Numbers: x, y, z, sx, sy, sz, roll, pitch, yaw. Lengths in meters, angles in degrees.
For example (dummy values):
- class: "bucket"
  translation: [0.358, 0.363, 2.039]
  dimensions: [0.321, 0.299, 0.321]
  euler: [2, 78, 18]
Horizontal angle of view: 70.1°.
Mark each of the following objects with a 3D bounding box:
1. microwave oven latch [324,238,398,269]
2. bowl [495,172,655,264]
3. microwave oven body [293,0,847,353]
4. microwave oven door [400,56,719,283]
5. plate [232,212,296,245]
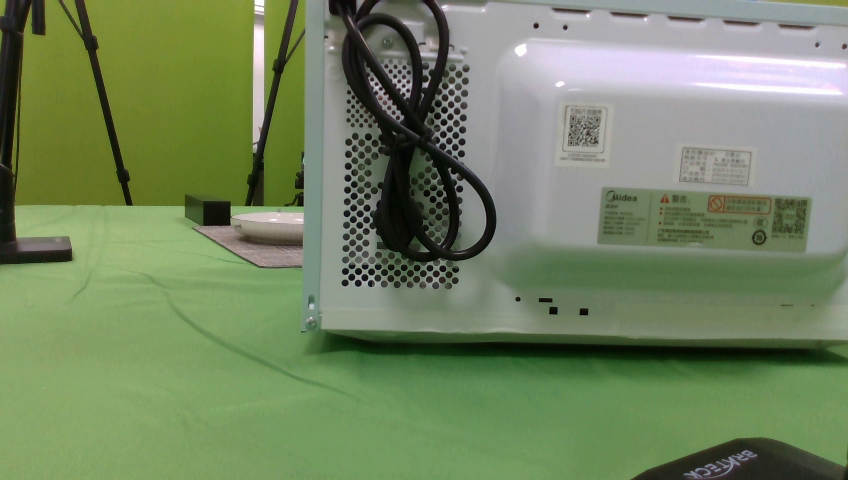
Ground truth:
- class: "microwave oven latch"
  translation: [-0.072, 0.015, 0.689]
  dimensions: [0.079, 0.029, 0.030]
  euler: [4, 6, 6]
- class: "bowl"
  translation: [0.144, -0.023, 0.592]
  dimensions: [0.151, 0.077, 0.151]
  euler: [1, 11, 0]
- class: "microwave oven body"
  translation: [0.122, -0.055, 0.550]
  dimensions: [0.442, 0.260, 0.325]
  euler: [3, 7, -5]
- class: "microwave oven door"
  translation: [0.155, -0.077, 0.698]
  dimensions: [0.356, 0.243, 0.039]
  euler: [2, 8, -5]
- class: "plate"
  translation: [-0.214, -0.019, 1.017]
  dimensions: [0.208, 0.039, 0.207]
  euler: [3, 7, 0]
